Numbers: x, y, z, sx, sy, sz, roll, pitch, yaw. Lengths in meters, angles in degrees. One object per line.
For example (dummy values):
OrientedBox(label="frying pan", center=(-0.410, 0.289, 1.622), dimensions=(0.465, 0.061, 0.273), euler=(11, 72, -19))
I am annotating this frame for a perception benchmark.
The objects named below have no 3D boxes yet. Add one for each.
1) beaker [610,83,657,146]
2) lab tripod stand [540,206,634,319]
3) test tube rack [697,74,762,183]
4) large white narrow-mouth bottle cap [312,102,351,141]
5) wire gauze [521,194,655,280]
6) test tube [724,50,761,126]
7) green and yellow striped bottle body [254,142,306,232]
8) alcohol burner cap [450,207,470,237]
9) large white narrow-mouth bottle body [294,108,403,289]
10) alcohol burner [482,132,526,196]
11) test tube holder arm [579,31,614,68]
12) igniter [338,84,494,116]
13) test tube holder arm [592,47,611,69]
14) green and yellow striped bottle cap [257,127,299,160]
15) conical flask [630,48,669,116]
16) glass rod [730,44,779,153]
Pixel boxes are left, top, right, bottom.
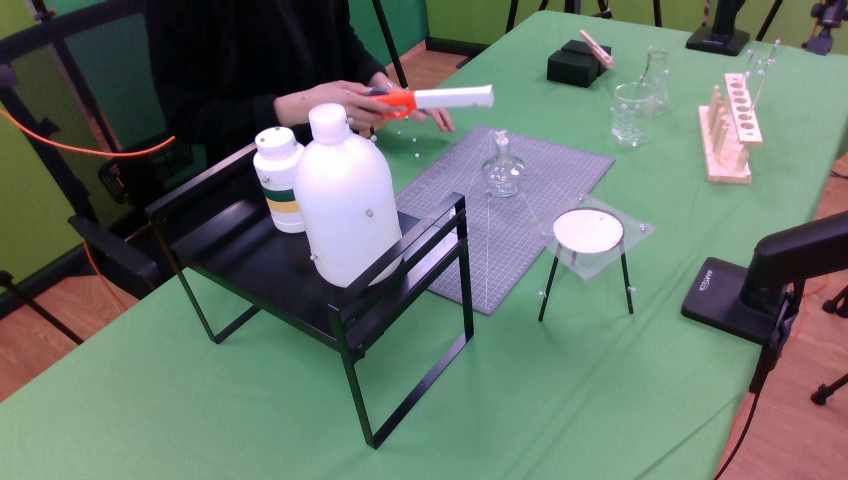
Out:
OrientedBox(label="beaker", center=(0.388, -0.235, 1.138), dimensions=(0.074, 0.101, 0.083), euler=(-31, 45, -26))
OrientedBox(label="lab tripod stand", center=(0.218, 0.034, 0.821), dimensions=(0.148, 0.132, 0.147), euler=(-4, 42, 4))
OrientedBox(label="test tube rack", center=(0.547, -0.208, 1.095), dimensions=(0.066, 0.085, 0.242), euler=(5, 42, 15))
OrientedBox(label="large white narrow-mouth bottle cap", center=(-0.089, -0.114, 0.579), dimensions=(0.038, 0.024, 0.037), euler=(-3, 39, 3))
OrientedBox(label="wire gauze", center=(0.207, -0.012, 0.772), dimensions=(0.122, 0.011, 0.124), euler=(-28, 44, -20))
OrientedBox(label="test tube", center=(0.570, -0.269, 1.086), dimensions=(0.017, 0.151, 0.017), euler=(-1, 46, 1))
OrientedBox(label="green and yellow striped bottle body", center=(-0.165, -0.073, 0.732), dimensions=(0.063, 0.120, 0.063), euler=(-4, 41, 4))
OrientedBox(label="alcohol burner cap", center=(0.057, -0.032, 0.987), dimensions=(0.034, 0.048, 0.033), euler=(-5, 41, 5))
OrientedBox(label="large white narrow-mouth bottle body", center=(-0.082, -0.047, 0.634), dimensions=(0.102, 0.195, 0.101), euler=(-4, 40, 3))
OrientedBox(label="alcohol burner", center=(0.137, -0.136, 1.042), dimensions=(0.078, 0.119, 0.077), euler=(-4, 43, 4))
OrientedBox(label="test tube holder arm", center=(0.384, -0.428, 1.351), dimensions=(0.013, 0.015, 0.177), euler=(-11, 41, -3))
OrientedBox(label="igniter", center=(-0.021, -0.232, 1.005), dimensions=(0.275, 0.057, 0.025), euler=(0, 47, 18))
OrientedBox(label="test tube holder arm", center=(0.386, -0.398, 1.317), dimensions=(0.010, 0.015, 0.087), euler=(-10, 41, -2))
OrientedBox(label="green and yellow striped bottle cap", center=(-0.169, -0.112, 0.698), dimensions=(0.045, 0.020, 0.045), euler=(-5, 40, 5))
OrientedBox(label="conical flask", center=(0.457, -0.317, 1.205), dimensions=(0.075, 0.122, 0.075), euler=(-4, 41, 4))
OrientedBox(label="glass rod", center=(0.555, -0.234, 1.020), dimensions=(0.008, 0.200, 0.008), euler=(2, 40, -1))
